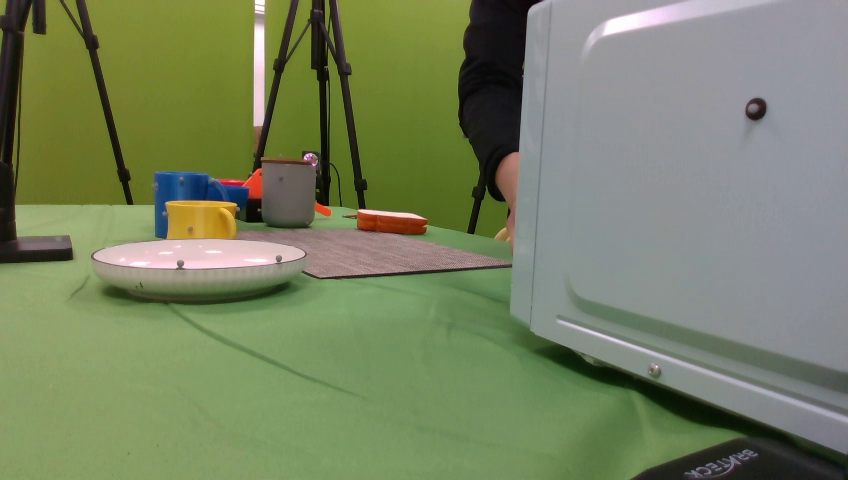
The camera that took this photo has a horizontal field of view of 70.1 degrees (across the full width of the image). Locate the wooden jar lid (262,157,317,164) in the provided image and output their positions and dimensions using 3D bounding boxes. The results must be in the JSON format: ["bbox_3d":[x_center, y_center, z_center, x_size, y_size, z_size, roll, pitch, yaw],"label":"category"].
[{"bbox_3d":[-0.269,-0.154,1.208,0.108,0.020,0.108,3,4,0],"label":"wooden jar lid"}]

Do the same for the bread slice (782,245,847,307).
[{"bbox_3d":[0.370,0.019,0.472,0.132,0.019,0.104,-22,10,-12],"label":"bread slice"}]

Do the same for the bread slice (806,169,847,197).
[{"bbox_3d":[0.365,-0.051,0.453,0.135,0.018,0.106,-10,1,-22],"label":"bread slice"}]

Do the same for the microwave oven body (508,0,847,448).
[{"bbox_3d":[0.331,-0.042,0.425,0.444,0.260,0.324,-2,8,-31],"label":"microwave oven body"}]

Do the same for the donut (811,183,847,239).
[{"bbox_3d":[0.353,-0.026,0.463,0.099,0.048,0.099,-10,3,1],"label":"donut"}]

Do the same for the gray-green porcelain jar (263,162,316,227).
[{"bbox_3d":[-0.271,-0.092,1.217,0.106,0.126,0.106,2,7,0],"label":"gray-green porcelain jar"}]

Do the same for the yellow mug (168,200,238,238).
[{"bbox_3d":[-0.319,-0.023,0.904,0.130,0.064,0.100,8,11,36],"label":"yellow mug"}]

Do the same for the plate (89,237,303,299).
[{"bbox_3d":[-0.233,0.029,0.636,0.208,0.039,0.207,2,7,0],"label":"plate"}]

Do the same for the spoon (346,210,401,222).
[{"bbox_3d":[-0.120,-0.060,1.400,0.042,0.021,0.192,-27,24,-38],"label":"spoon"}]

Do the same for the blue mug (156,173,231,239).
[{"bbox_3d":[-0.380,-0.057,1.004,0.117,0.106,0.082,1,8,-12],"label":"blue mug"}]

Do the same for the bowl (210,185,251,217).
[{"bbox_3d":[-0.408,-0.064,1.154,0.151,0.077,0.151,2,8,0],"label":"bowl"}]

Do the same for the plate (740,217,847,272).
[{"bbox_3d":[0.359,0.002,0.465,0.209,0.038,0.209,0,4,0],"label":"plate"}]

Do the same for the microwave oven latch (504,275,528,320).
[{"bbox_3d":[0.101,0.042,0.469,0.079,0.029,0.030,-1,7,-25],"label":"microwave oven latch"}]

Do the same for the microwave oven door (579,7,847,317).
[{"bbox_3d":[0.294,-0.067,0.570,0.358,0.243,0.039,-3,9,-31],"label":"microwave oven door"}]

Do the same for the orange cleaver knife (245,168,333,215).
[{"bbox_3d":[-0.300,-0.089,1.352,0.212,0.077,0.012,28,-9,-34],"label":"orange cleaver knife"}]

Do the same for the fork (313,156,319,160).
[{"bbox_3d":[-0.330,-0.144,1.506,0.207,0.018,0.028,-42,-19,22],"label":"fork"}]
